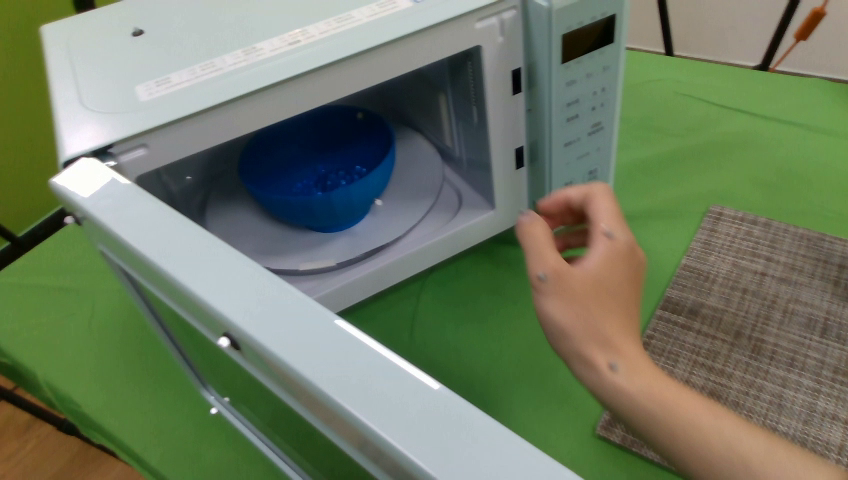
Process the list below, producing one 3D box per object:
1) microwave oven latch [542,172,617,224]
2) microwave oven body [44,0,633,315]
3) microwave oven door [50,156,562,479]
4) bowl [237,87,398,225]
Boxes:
[{"bbox_3d":[0.160,-0.048,0.621,0.079,0.030,0.030,-25,45,-13],"label":"microwave oven latch"},{"bbox_3d":[-0.079,-0.124,0.608,0.442,0.263,0.322,-26,46,-15],"label":"microwave oven body"},{"bbox_3d":[-0.071,0.102,0.359,0.352,0.246,0.039,26,54,33],"label":"microwave oven door"},{"bbox_3d":[-0.093,-0.067,0.585,0.151,0.077,0.150,-4,55,6],"label":"bowl"}]
